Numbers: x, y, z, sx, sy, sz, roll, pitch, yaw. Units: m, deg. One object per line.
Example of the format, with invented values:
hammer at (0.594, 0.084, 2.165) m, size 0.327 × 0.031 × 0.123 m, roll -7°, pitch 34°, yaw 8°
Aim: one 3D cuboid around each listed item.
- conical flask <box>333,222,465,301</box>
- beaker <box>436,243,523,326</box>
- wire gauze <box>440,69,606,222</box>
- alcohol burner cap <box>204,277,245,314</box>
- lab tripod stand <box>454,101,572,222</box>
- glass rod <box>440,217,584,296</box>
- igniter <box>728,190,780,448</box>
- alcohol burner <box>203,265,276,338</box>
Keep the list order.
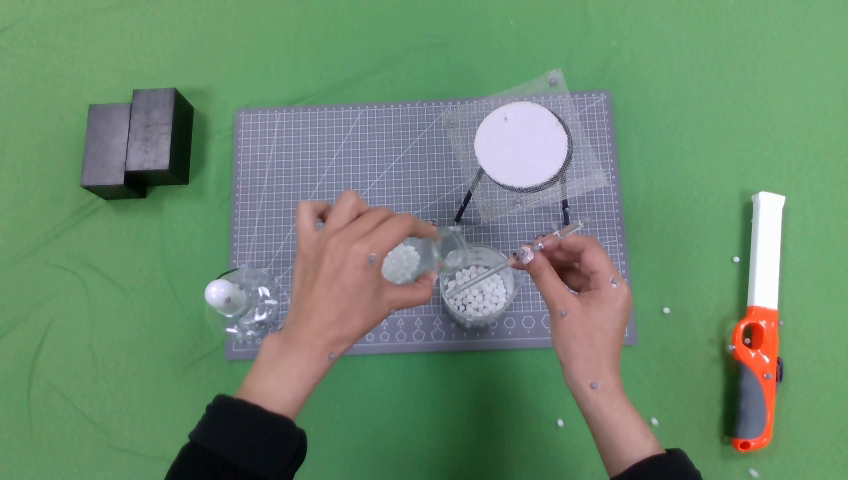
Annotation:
conical flask at (-0.019, 0.014, 0.537) m, size 0.076 × 0.121 × 0.075 m, roll 8°, pitch 78°, yaw -42°
beaker at (0.055, 0.050, 0.625) m, size 0.084 × 0.101 × 0.073 m, roll -5°, pitch 77°, yaw 1°
wire gauze at (0.091, -0.089, 0.568) m, size 0.125 × 0.011 × 0.121 m, roll -19°, pitch 78°, yaw -1°
alcohol burner cap at (-0.197, 0.052, 0.591) m, size 0.034 × 0.048 × 0.033 m, roll 1°, pitch 74°, yaw -2°
lab tripod stand at (0.095, -0.072, 0.633) m, size 0.148 × 0.132 × 0.147 m, roll -1°, pitch 78°, yaw 3°
glass rod at (0.068, 0.019, 0.534) m, size 0.008 × 0.199 × 0.008 m, roll 13°, pitch 63°, yaw -28°
igniter at (0.353, 0.081, 0.643) m, size 0.057 × 0.025 × 0.275 m, roll 12°, pitch 78°, yaw -5°
alcohol burner at (-0.196, 0.061, 0.626) m, size 0.078 × 0.119 × 0.077 m, roll 0°, pitch 78°, yaw 1°
